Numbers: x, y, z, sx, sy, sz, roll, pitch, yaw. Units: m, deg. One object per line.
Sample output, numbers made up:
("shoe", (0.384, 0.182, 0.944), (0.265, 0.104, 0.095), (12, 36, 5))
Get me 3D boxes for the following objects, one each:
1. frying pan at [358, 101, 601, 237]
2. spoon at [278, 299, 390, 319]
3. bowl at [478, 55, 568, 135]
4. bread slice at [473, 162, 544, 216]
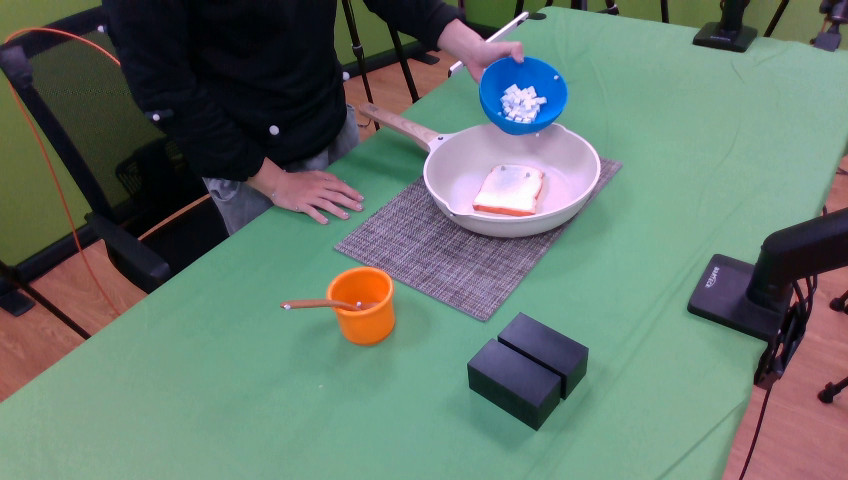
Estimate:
("frying pan", (0.067, -0.153, 1.067), (0.484, 0.103, 0.308), (32, 52, 26))
("spoon", (-0.113, 0.087, 0.787), (0.041, 0.021, 0.195), (29, 7, 36))
("bowl", (0.164, -0.234, 1.037), (0.151, 0.077, 0.150), (2, 62, -2))
("bread slice", (0.149, -0.088, 1.042), (0.106, 0.018, 0.134), (7, 45, 16))
